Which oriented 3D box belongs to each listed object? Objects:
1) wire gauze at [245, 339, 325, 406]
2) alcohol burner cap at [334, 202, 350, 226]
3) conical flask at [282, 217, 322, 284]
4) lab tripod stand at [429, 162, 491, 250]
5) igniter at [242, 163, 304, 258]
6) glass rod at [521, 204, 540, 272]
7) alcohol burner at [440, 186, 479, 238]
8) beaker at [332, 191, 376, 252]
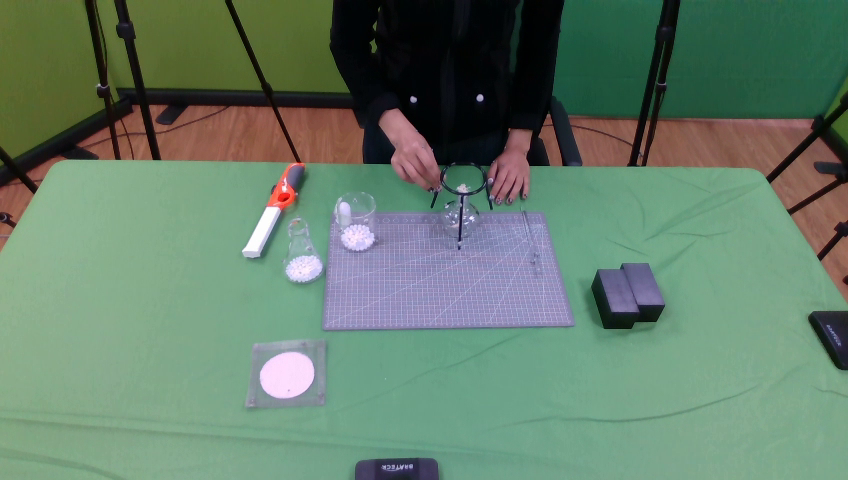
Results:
[{"bbox_3d":[-0.224,0.215,0.984,0.125,0.011,0.120,-3,46,-4],"label":"wire gauze"},{"bbox_3d":[-0.166,-0.055,1.223,0.034,0.048,0.033,2,46,-2],"label":"alcohol burner cap"},{"bbox_3d":[-0.225,0.016,1.097,0.075,0.122,0.075,2,46,-2],"label":"conical flask"},{"bbox_3d":[0.074,-0.078,1.181,0.148,0.132,0.147,1,50,-1],"label":"lab tripod stand"},{"bbox_3d":[-0.305,-0.069,1.239,0.057,0.025,0.275,2,45,12],"label":"igniter"},{"bbox_3d":[0.215,-0.008,1.230,0.008,0.008,0.198,0,43,-3],"label":"glass rod"},{"bbox_3d":[0.072,-0.062,1.198,0.078,0.119,0.077,3,47,-3],"label":"alcohol burner"},{"bbox_3d":[-0.133,-0.032,1.163,0.084,0.101,0.073,-19,50,-20],"label":"beaker"}]
